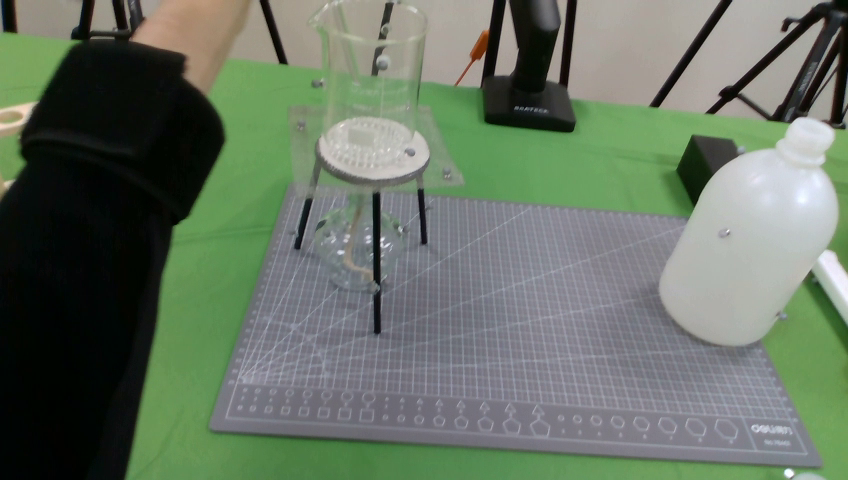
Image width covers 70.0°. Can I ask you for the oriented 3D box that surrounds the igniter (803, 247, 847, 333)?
[{"bbox_3d":[0.398,0.101,0.528,0.057,0.025,0.274,14,39,-10],"label":"igniter"}]

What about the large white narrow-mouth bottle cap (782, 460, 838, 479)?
[{"bbox_3d":[0.271,0.177,0.424,0.038,0.024,0.037,4,40,-3],"label":"large white narrow-mouth bottle cap"}]

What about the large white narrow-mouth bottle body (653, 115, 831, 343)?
[{"bbox_3d":[0.269,-0.011,0.502,0.102,0.196,0.101,4,41,-3],"label":"large white narrow-mouth bottle body"}]

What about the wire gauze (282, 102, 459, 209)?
[{"bbox_3d":[-0.046,-0.073,0.468,0.122,0.011,0.123,-6,46,-13],"label":"wire gauze"}]

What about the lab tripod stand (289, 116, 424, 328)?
[{"bbox_3d":[-0.049,-0.022,0.509,0.148,0.132,0.147,6,41,-5],"label":"lab tripod stand"}]

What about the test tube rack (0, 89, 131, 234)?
[{"bbox_3d":[-0.398,-0.052,0.526,0.243,0.086,0.066,-25,51,-33],"label":"test tube rack"}]

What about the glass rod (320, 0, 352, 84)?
[{"bbox_3d":[-0.072,-0.187,0.369,0.008,0.202,0.008,-7,41,7],"label":"glass rod"}]

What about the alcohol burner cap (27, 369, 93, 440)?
[{"bbox_3d":[-0.243,0.107,0.401,0.034,0.048,0.033,6,40,-5],"label":"alcohol burner cap"}]

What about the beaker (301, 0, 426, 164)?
[{"bbox_3d":[-0.045,-0.112,0.438,0.084,0.101,0.073,1,43,-9],"label":"beaker"}]

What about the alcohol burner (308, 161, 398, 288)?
[{"bbox_3d":[-0.059,-0.017,0.517,0.078,0.120,0.077,6,39,-5],"label":"alcohol burner"}]
